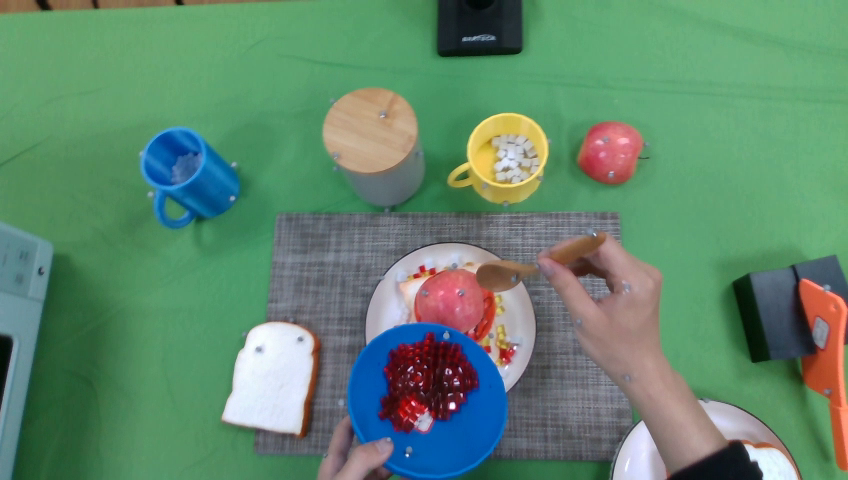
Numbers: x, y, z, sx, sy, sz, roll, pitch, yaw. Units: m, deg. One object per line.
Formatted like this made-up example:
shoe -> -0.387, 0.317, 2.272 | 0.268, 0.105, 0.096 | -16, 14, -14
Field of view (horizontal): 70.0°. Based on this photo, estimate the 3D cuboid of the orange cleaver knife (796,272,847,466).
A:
orange cleaver knife -> 0.442, 0.141, 0.671 | 0.012, 0.077, 0.211 | -10, 97, -5

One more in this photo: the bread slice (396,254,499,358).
bread slice -> 0.036, 0.092, 0.734 | 0.107, 0.018, 0.133 | -17, 79, 1

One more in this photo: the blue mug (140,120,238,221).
blue mug -> -0.305, -0.079, 0.776 | 0.082, 0.106, 0.116 | 20, 78, 10

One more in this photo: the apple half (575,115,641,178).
apple half -> 0.236, -0.126, 0.772 | 0.074, 0.054, 0.080 | 22, 79, 13

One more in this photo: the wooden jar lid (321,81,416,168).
wooden jar lid -> -0.063, -0.130, 0.693 | 0.108, 0.021, 0.108 | -1, 73, 2

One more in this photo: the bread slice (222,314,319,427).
bread slice -> -0.187, 0.156, 0.749 | 0.105, 0.019, 0.131 | 8, 78, 6

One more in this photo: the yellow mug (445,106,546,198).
yellow mug -> 0.088, -0.106, 0.772 | 0.131, 0.064, 0.099 | -22, 75, 0

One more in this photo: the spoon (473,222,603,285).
spoon -> 0.093, 0.015, 0.517 | 0.042, 0.193, 0.021 | 29, 71, -12

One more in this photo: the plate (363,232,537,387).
plate -> 0.031, 0.095, 0.736 | 0.207, 0.039, 0.206 | -1, 76, 5

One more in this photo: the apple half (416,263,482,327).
apple half -> 0.028, 0.062, 0.678 | 0.081, 0.033, 0.081 | -3, 73, 11

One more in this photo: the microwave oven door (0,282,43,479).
microwave oven door -> -0.525, 0.208, 0.631 | 0.039, 0.245, 0.354 | 0, 75, 5

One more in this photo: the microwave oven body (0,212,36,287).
microwave oven body -> -0.669, 0.167, 0.658 | 0.326, 0.261, 0.439 | 0, 76, 5

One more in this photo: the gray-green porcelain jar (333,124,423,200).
gray-green porcelain jar -> -0.056, -0.114, 0.755 | 0.106, 0.127, 0.105 | -1, 75, 4

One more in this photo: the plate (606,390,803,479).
plate -> 0.306, 0.272, 0.671 | 0.209, 0.038, 0.208 | -1, 75, 5

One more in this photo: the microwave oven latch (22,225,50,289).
microwave oven latch -> -0.509, 0.022, 0.782 | 0.030, 0.029, 0.079 | 4, 77, 5

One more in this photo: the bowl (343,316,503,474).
bowl -> -0.006, 0.157, 0.585 | 0.152, 0.077, 0.150 | 7, 53, -9

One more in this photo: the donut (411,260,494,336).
donut -> 0.034, 0.072, 0.713 | 0.099, 0.048, 0.098 | -1, 76, 5
